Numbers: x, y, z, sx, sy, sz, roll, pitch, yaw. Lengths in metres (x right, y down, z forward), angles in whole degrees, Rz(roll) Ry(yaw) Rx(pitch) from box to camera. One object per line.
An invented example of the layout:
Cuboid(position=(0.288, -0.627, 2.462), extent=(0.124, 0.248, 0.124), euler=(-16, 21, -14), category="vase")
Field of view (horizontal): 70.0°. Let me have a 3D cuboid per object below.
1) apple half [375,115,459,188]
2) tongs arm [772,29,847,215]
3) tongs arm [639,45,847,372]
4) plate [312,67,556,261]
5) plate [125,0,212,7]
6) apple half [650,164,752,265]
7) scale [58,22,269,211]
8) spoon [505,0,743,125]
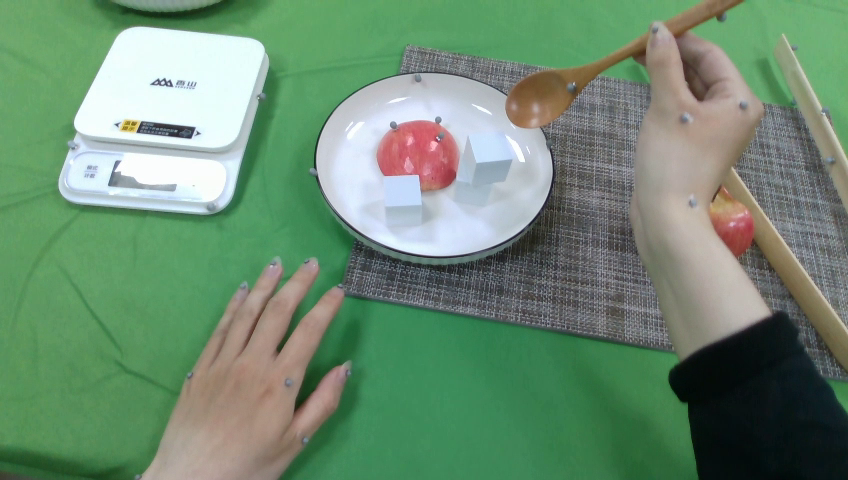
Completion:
Cuboid(position=(-0.004, -0.085, 0.539), extent=(0.081, 0.033, 0.080), euler=(2, 55, -2), category="apple half")
Cuboid(position=(0.373, -0.057, 0.562), extent=(0.051, 0.027, 0.381), euler=(0, 59, -5), category="tongs arm")
Cuboid(position=(0.290, -0.049, 0.553), extent=(0.028, 0.028, 0.383), euler=(-11, 60, -15), category="tongs arm")
Cuboid(position=(0.009, -0.067, 0.535), extent=(0.209, 0.038, 0.207), euler=(2, 58, -3), category="plate")
Cuboid(position=(-0.275, -0.325, 0.675), extent=(0.208, 0.039, 0.205), euler=(2, 58, -3), category="plate")
Cuboid(position=(0.217, -0.014, 0.499), extent=(0.053, 0.075, 0.080), euler=(-25, 67, -13), category="apple half")
Cuboid(position=(-0.233, -0.119, 0.555), extent=(0.149, 0.032, 0.199), euler=(5, 59, -1), category="scale")
Cuboid(position=(0.139, -0.132, 0.432), extent=(0.022, 0.193, 0.041), euler=(-25, 94, -46), category="spoon")
